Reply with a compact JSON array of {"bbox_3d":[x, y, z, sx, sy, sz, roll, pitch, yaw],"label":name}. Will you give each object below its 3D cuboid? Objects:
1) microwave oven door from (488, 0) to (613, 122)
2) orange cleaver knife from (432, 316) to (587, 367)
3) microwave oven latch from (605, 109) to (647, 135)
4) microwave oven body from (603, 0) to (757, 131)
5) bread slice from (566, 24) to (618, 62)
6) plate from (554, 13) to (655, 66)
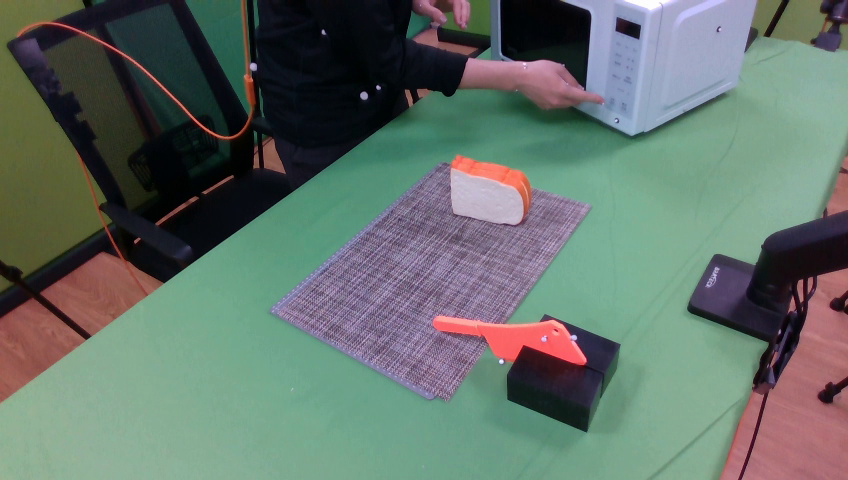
[{"bbox_3d":[0.250,-0.412,1.219,0.039,0.245,0.352,-27,44,-21],"label":"microwave oven door"},{"bbox_3d":[0.101,0.127,0.761,0.210,0.077,0.012,-1,34,40],"label":"orange cleaver knife"},{"bbox_3d":[0.378,-0.225,1.139,0.030,0.029,0.078,-26,43,-20],"label":"microwave oven latch"},{"bbox_3d":[0.396,-0.448,1.248,0.327,0.261,0.437,-27,44,-21],"label":"microwave oven body"},{"bbox_3d":[0.363,-0.431,1.319,0.107,0.018,0.134,1,49,10],"label":"bread slice"},{"bbox_3d":[0.387,-0.427,1.305,0.207,0.039,0.206,-5,44,5],"label":"plate"}]
